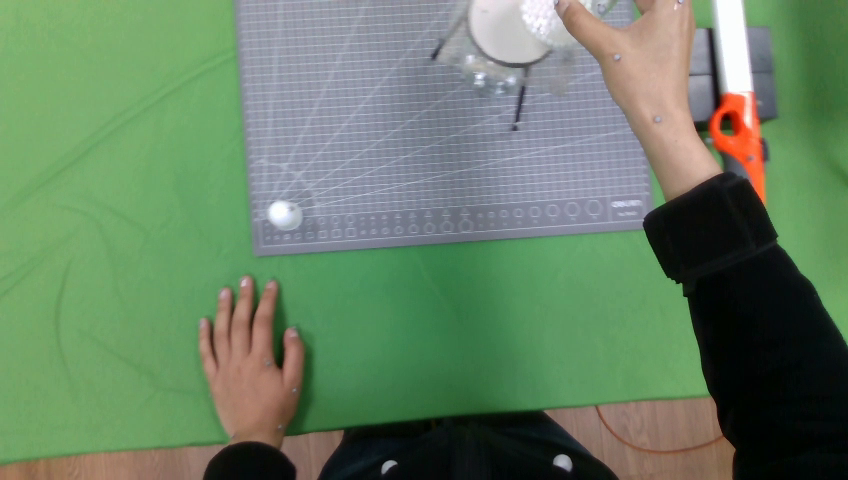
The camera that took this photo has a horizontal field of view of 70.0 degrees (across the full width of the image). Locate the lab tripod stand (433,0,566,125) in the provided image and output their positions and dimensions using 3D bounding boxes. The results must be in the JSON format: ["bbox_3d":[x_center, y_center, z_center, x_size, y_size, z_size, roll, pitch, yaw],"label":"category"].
[{"bbox_3d":[0.085,-0.205,0.619,0.148,0.131,0.148,0,85,-2],"label":"lab tripod stand"}]

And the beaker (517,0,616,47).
[{"bbox_3d":[0.119,-0.208,0.487,0.084,0.100,0.074,0,83,-8],"label":"beaker"}]

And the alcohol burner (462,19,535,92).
[{"bbox_3d":[0.079,-0.196,0.628,0.078,0.119,0.078,0,89,-2],"label":"alcohol burner"}]

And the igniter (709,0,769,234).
[{"bbox_3d":[0.328,-0.145,0.638,0.057,0.025,0.276,-3,87,3],"label":"igniter"}]

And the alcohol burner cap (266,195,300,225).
[{"bbox_3d":[-0.152,-0.034,0.645,0.034,0.048,0.034,0,87,-4],"label":"alcohol burner cap"}]

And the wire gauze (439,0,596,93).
[{"bbox_3d":[0.090,-0.206,0.552,0.121,0.011,0.125,19,86,-2],"label":"wire gauze"}]
